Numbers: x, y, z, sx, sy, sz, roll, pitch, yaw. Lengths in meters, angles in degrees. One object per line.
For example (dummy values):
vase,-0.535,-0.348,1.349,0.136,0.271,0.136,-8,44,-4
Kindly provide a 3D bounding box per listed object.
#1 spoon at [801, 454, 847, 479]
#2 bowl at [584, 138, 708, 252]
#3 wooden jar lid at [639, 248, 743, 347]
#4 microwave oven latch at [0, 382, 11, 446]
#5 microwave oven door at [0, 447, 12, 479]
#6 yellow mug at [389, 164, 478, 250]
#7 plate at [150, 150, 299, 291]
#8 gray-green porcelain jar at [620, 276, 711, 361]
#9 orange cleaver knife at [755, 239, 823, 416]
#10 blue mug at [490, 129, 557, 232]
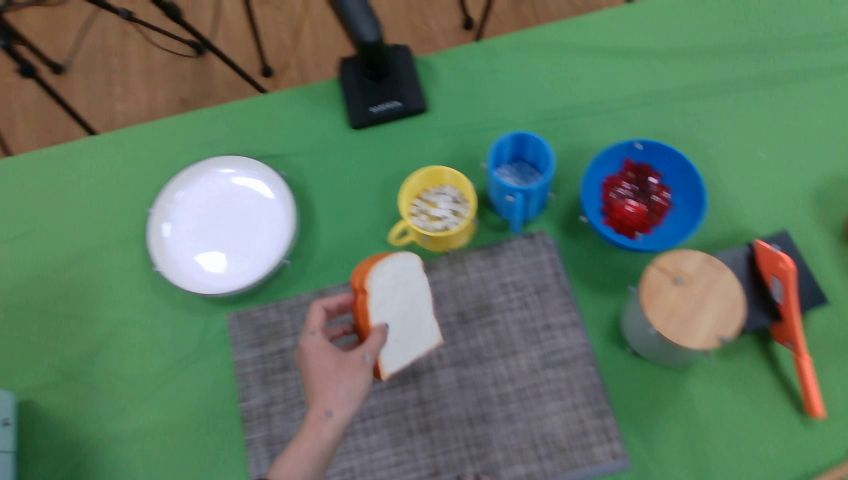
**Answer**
spoon,0.414,0.285,0.685,0.194,0.022,0.041,-24,52,-4
bowl,0.278,-0.047,0.786,0.151,0.077,0.150,-2,71,5
wooden jar lid,0.286,0.062,0.653,0.108,0.021,0.107,-1,72,2
microwave oven latch,-0.544,0.220,0.765,0.030,0.030,0.078,-9,71,1
microwave oven door,-0.510,0.386,0.595,0.039,0.245,0.353,-13,70,1
yellow mug,0.009,-0.035,0.811,0.131,0.064,0.099,-34,71,-6
plate,-0.275,-0.026,0.849,0.207,0.039,0.206,-1,71,4
gray-green porcelain jar,0.292,0.084,0.712,0.106,0.127,0.105,-1,70,4
orange cleaver knife,0.429,0.102,0.717,0.012,0.077,0.211,-16,96,0
blue mug,0.126,-0.068,0.792,0.082,0.106,0.116,5,71,7
